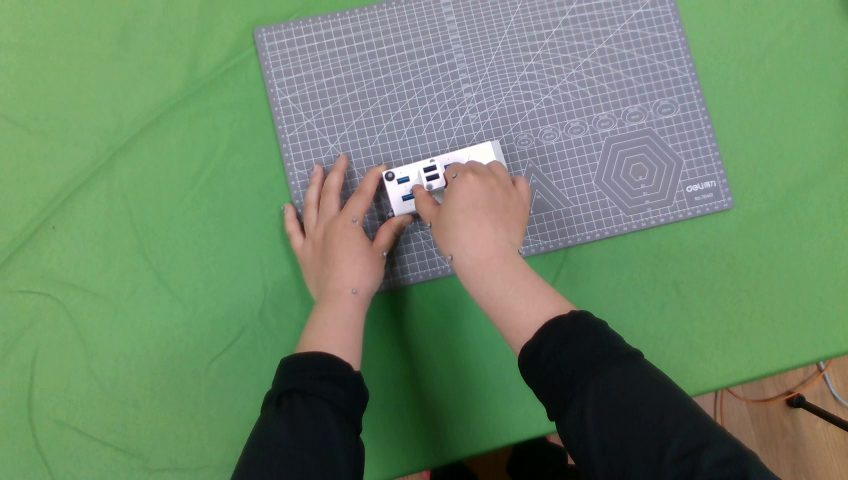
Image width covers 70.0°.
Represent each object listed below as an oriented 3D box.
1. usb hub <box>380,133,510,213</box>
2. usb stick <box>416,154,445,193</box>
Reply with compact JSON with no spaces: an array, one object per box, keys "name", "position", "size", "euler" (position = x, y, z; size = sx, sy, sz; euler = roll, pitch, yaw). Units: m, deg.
[{"name":"usb hub","position":[0.021,-0.069,0.619],"size":[0.125,0.025,0.049],"euler":[-16,86,-4]},{"name":"usb stick","position":[0.007,-0.063,0.588],"size":[0.021,0.059,0.027],"euler":[-19,81,1]}]
